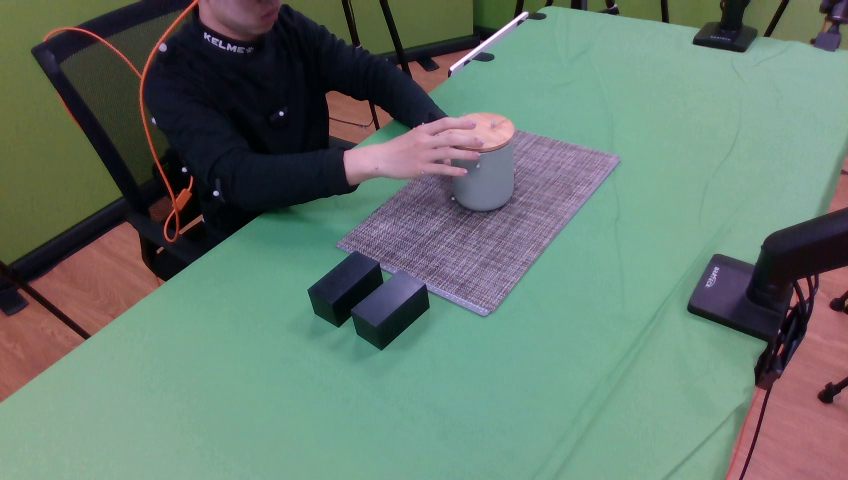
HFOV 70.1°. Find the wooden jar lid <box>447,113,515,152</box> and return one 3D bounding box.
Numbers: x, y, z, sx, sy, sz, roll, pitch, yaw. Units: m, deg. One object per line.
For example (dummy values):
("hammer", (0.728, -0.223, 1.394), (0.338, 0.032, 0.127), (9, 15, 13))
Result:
("wooden jar lid", (0.091, -0.169, 0.968), (0.108, 0.021, 0.108), (-3, 41, 3))

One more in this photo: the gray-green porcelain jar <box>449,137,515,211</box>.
("gray-green porcelain jar", (0.098, -0.120, 1.009), (0.106, 0.127, 0.105), (-4, 41, 4))
